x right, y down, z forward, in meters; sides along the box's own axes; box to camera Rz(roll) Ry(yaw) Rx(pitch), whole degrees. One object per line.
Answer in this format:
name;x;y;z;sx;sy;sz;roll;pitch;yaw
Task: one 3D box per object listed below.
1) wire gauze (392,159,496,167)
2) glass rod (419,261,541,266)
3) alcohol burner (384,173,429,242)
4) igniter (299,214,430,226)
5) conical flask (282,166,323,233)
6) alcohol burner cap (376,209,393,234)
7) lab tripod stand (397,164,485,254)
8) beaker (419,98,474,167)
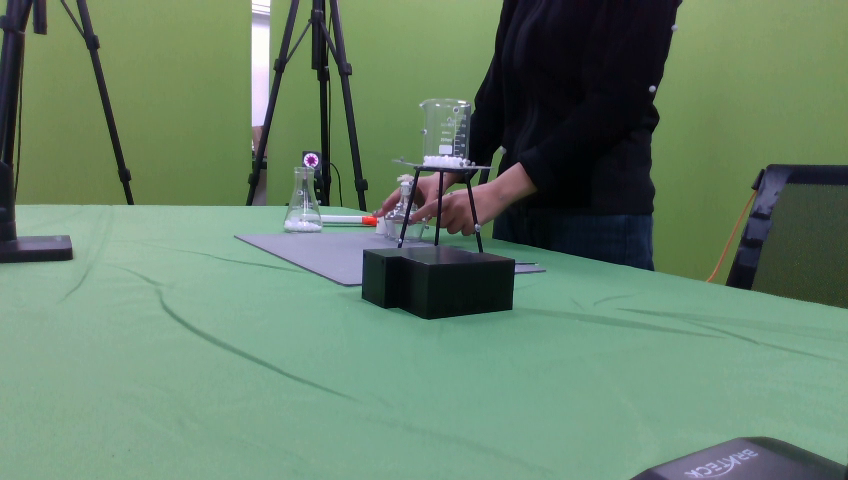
wire gauze;0.032;-0.114;0.923;0.124;0.011;0.122;5;5;32
glass rod;0.080;0.031;0.807;0.201;0.008;0.008;1;6;-32
alcohol burner;-0.030;-0.056;1.051;0.078;0.119;0.078;3;9;0
igniter;-0.123;-0.044;1.281;0.278;0.025;0.057;0;-2;-19
conical flask;-0.225;-0.076;1.129;0.075;0.122;0.075;2;8;0
alcohol burner cap;-0.075;-0.036;1.150;0.034;0.048;0.034;2;7;0
lab tripod stand;0.030;-0.049;0.930;0.148;0.131;0.148;4;6;0
beaker;0.032;-0.161;0.913;0.084;0.100;0.074;1;7;-10
